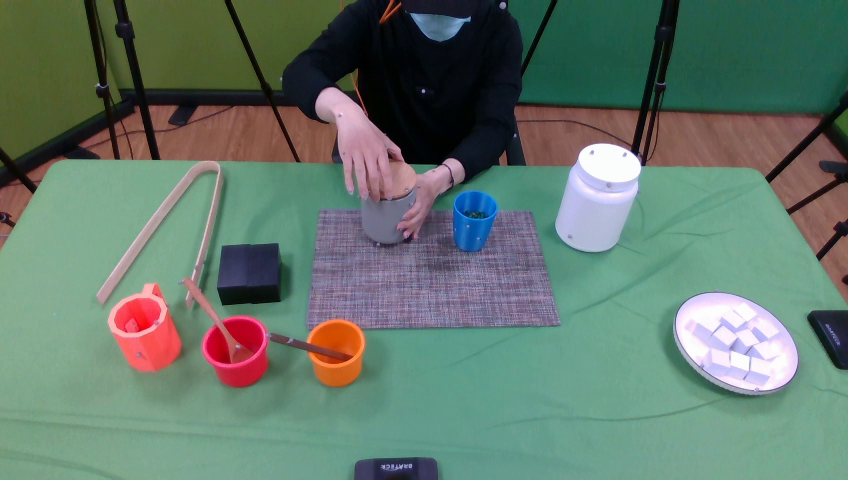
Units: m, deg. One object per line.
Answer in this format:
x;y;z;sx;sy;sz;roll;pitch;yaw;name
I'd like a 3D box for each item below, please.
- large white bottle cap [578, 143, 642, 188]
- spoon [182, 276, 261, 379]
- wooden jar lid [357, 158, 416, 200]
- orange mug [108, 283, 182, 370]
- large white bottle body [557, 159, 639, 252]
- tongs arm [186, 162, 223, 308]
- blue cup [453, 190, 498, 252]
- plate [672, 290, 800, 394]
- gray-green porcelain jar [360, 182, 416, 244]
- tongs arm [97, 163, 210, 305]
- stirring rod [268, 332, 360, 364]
0.344;-0.139;1.123;0.115;0.018;0.114;2;46;-2;large white bottle cap
-0.321;0.137;0.957;0.041;0.021;0.194;-36;102;-32;spoon
-0.070;-0.112;1.126;0.108;0.021;0.107;4;48;-4;wooden jar lid
-0.446;0.134;0.982;0.083;0.101;0.125;-1;50;-5;orange mug
0.340;-0.081;1.185;0.131;0.185;0.130;2;46;-1;large white bottle body
-0.436;-0.024;1.181;0.051;0.027;0.382;-3;45;0;tongs arm
0.094;-0.032;1.174;0.093;0.101;0.092;3;45;-3;blue cup
0.533;0.178;1.050;0.208;0.039;0.206;2;46;-2;plate
-0.071;-0.064;1.175;0.106;0.127;0.105;2;46;-2;gray-green porcelain jar
-0.520;-0.027;1.184;0.028;0.028;0.385;4;45;13;tongs arm
-0.167;0.169;0.942;0.177;0.006;0.014;26;27;-41;stirring rod
